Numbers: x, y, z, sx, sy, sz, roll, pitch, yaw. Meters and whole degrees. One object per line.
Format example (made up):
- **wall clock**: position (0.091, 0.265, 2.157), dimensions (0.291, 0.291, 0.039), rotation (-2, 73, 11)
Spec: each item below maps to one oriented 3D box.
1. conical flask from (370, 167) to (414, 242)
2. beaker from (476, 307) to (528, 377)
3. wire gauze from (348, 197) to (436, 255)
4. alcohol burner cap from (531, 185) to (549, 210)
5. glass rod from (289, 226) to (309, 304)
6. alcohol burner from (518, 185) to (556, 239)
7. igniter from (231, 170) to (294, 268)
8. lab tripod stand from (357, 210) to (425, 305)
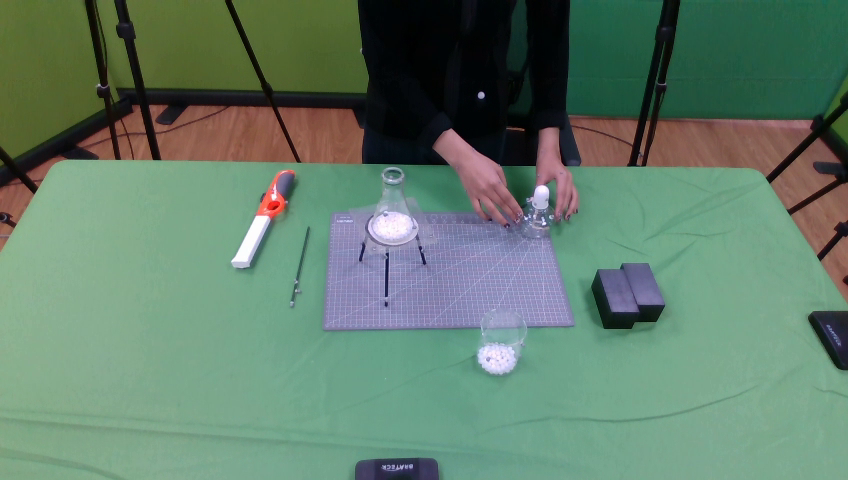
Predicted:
- **conical flask**: position (-0.053, -0.062, 1.000), dimensions (0.075, 0.122, 0.075), rotation (2, 44, -2)
- **beaker**: position (0.122, 0.171, 0.991), dimensions (0.084, 0.101, 0.073), rotation (-34, 56, -31)
- **wire gauze**: position (-0.056, -0.025, 1.046), dimensions (0.125, 0.011, 0.120), rotation (-13, 46, -15)
- **alcohol burner cap**: position (0.228, -0.085, 1.182), dimensions (0.034, 0.048, 0.033), rotation (-2, 48, 2)
- **glass rod**: position (-0.235, 0.043, 1.149), dimensions (0.008, 0.008, 0.198), rotation (3, 46, -1)
- **alcohol burner**: position (0.228, -0.060, 1.209), dimensions (0.078, 0.120, 0.077), rotation (1, 45, -1)
- **igniter**: position (-0.321, -0.051, 1.220), dimensions (0.057, 0.025, 0.275), rotation (1, 45, 12)
- **lab tripod stand**: position (-0.060, 0.020, 1.094), dimensions (0.148, 0.132, 0.147), rotation (3, 44, -2)
